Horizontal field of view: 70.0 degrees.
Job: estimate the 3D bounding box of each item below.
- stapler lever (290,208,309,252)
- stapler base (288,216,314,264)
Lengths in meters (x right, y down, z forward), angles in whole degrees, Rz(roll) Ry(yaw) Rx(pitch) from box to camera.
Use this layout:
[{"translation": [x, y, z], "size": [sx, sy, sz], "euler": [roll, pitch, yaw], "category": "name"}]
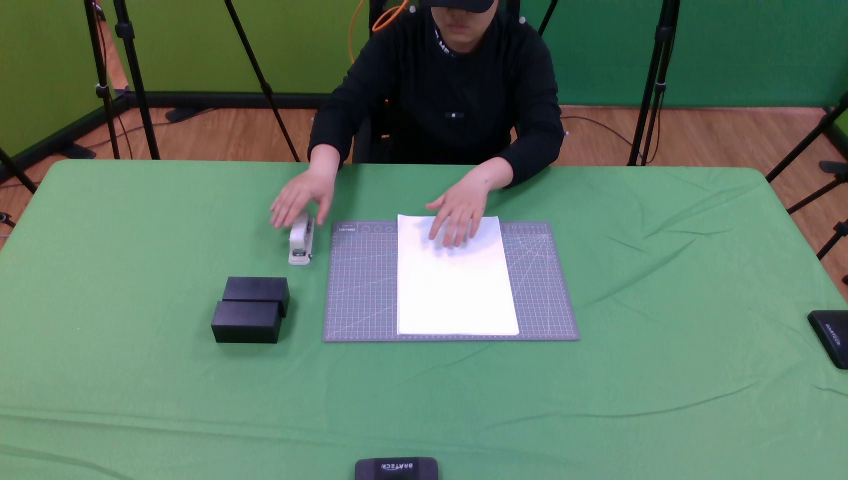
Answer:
[{"translation": [-0.240, -0.026, 1.168], "size": [0.027, 0.040, 0.117], "euler": [1, 44, -6], "category": "stapler lever"}, {"translation": [-0.240, -0.007, 1.184], "size": [0.041, 0.024, 0.129], "euler": [1, 44, -6], "category": "stapler base"}]
